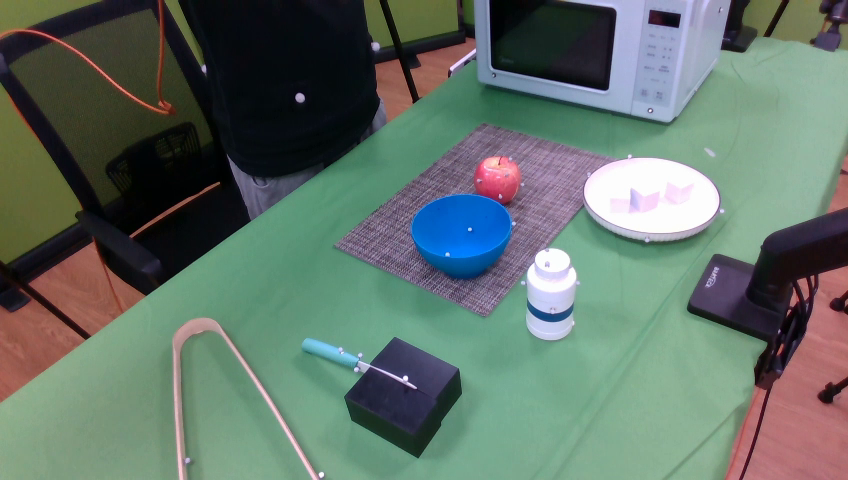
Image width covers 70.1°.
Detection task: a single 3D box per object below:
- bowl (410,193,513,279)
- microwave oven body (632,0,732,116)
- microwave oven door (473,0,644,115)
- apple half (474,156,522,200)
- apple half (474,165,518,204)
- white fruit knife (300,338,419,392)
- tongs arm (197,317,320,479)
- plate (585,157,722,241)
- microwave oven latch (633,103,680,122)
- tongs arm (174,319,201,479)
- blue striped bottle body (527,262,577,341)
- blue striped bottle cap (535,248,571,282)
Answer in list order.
[{"bbox_3d":[0.058,0.005,0.905,0.151,0.077,0.150,-4,40,4],"label":"bowl"},{"bbox_3d":[0.377,-0.463,1.267,0.438,0.261,0.327,21,49,30],"label":"microwave oven body"},{"bbox_3d":[0.257,-0.396,1.199,0.353,0.245,0.039,21,48,29],"label":"microwave oven door"},{"bbox_3d":[0.130,-0.108,1.031,0.080,0.075,0.053,8,39,22],"label":"apple half"},{"bbox_3d":[0.115,-0.084,1.005,0.081,0.081,0.033,11,41,20],"label":"apple half"},{"bbox_3d":[-0.087,0.156,0.762,0.206,0.027,0.016,11,44,36],"label":"white fruit knife"},{"bbox_3d":[-0.200,0.207,0.750,0.028,0.028,0.384,-31,45,-22],"label":"tongs arm"},{"bbox_3d":[0.367,-0.063,0.979,0.207,0.039,0.206,-4,40,4],"label":"plate"},{"bbox_3d":[0.444,-0.249,1.158,0.078,0.029,0.030,21,49,30],"label":"microwave oven latch"},{"bbox_3d":[-0.272,0.234,0.723,0.051,0.026,0.381,-19,40,-15],"label":"tongs arm"},{"bbox_3d":[0.165,0.070,0.786,0.063,0.121,0.063,-4,41,4],"label":"blue striped bottle body"},{"bbox_3d":[0.161,0.031,0.753,0.044,0.021,0.044,-4,42,4],"label":"blue striped bottle cap"}]
